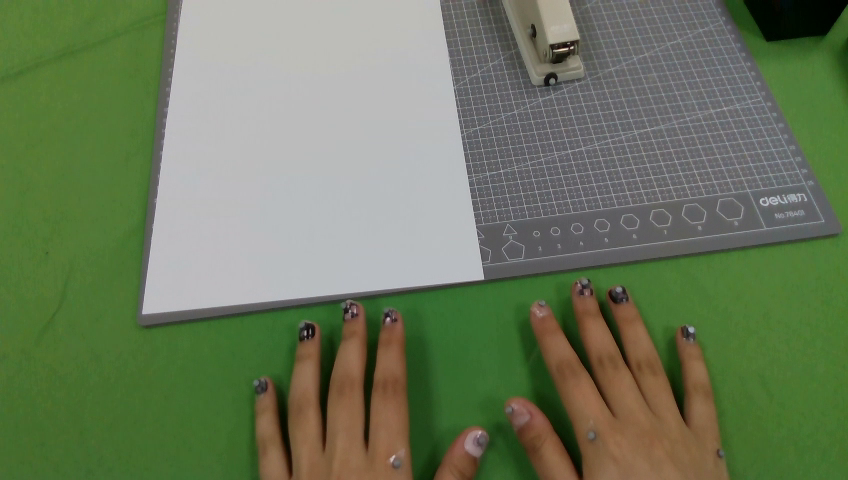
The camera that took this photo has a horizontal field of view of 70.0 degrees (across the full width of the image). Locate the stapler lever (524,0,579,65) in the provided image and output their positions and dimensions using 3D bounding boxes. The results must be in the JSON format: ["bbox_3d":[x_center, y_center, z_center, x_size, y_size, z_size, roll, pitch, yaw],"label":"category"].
[{"bbox_3d":[0.089,-0.186,0.453,0.027,0.040,0.117,-11,64,-3],"label":"stapler lever"}]

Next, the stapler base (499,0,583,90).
[{"bbox_3d":[0.088,-0.175,0.476,0.041,0.024,0.129,-11,64,-3],"label":"stapler base"}]
